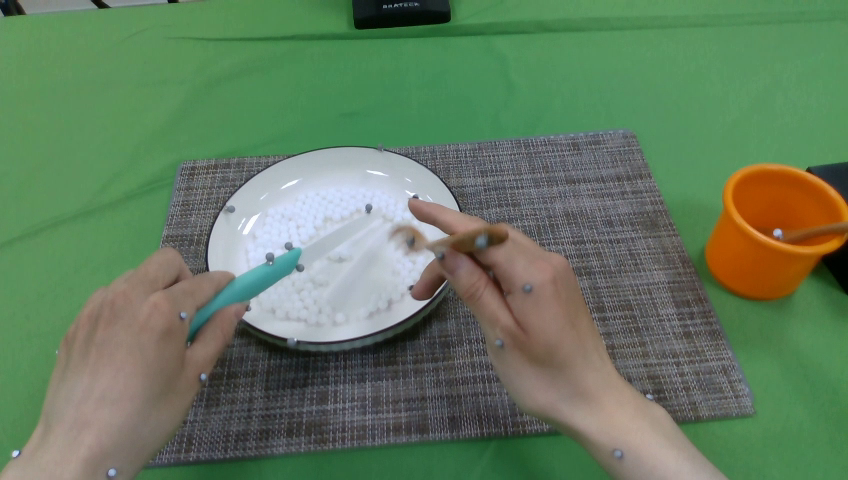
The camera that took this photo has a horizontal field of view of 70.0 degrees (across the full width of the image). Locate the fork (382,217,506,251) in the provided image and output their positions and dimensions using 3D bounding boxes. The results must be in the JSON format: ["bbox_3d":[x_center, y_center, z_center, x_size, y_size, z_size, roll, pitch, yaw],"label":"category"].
[{"bbox_3d":[0.005,-0.003,0.383,0.018,0.206,0.028,-41,100,-12],"label":"fork"}]

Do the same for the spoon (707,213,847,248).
[{"bbox_3d":[0.296,-0.010,0.437,0.041,0.193,0.022,-34,102,-26],"label":"spoon"}]

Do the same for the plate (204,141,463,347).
[{"bbox_3d":[-0.071,0.000,0.502,0.209,0.038,0.207,0,51,1],"label":"plate"}]

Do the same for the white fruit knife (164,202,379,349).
[{"bbox_3d":[-0.101,0.014,0.452,0.016,0.027,0.207,30,43,23],"label":"white fruit knife"}]
